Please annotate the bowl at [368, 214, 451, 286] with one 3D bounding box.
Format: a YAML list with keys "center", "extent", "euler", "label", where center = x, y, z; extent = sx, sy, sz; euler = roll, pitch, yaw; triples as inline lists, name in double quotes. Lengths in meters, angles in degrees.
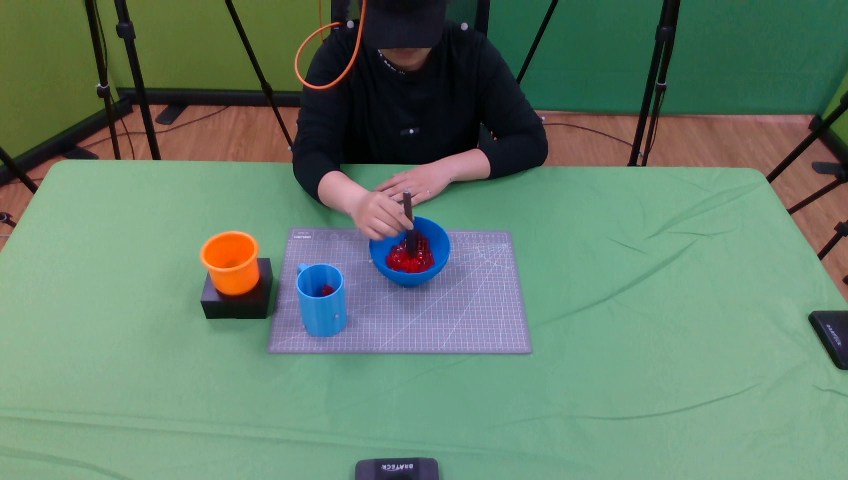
- center: [-0.028, 0.032, 1.122]
  extent: [0.151, 0.077, 0.150]
  euler: [2, 46, -2]
  label: "bowl"

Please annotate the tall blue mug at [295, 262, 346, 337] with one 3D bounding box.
- center: [-0.187, 0.096, 1.027]
  extent: [0.107, 0.108, 0.077]
  euler: [21, 49, 16]
  label: "tall blue mug"

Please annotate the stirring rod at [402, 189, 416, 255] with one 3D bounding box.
- center: [-0.026, -0.027, 1.057]
  extent: [0.014, 0.177, 0.006]
  euler: [10, 54, 10]
  label: "stirring rod"
